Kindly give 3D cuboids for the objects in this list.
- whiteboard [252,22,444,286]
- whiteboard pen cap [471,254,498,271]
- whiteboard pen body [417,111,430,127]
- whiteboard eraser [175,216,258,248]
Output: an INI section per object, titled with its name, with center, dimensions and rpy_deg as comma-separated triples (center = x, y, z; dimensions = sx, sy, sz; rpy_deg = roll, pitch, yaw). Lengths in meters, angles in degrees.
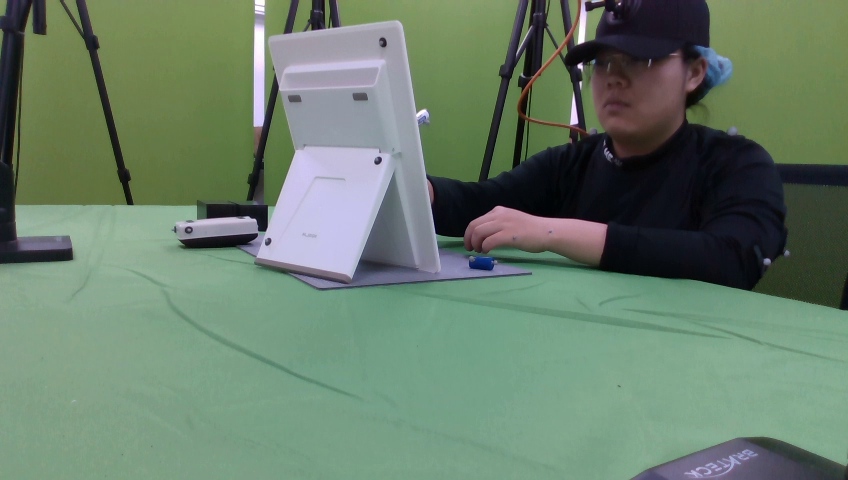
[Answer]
[whiteboard]
center = -0.125, -0.081, 0.714
dimensions = 0.216, 0.305, 0.144
rpy_deg = 9, 29, 36
[whiteboard pen cap]
center = 0.080, 0.031, 0.799
dimensions = 0.033, 0.018, 0.018
rpy_deg = 19, 2, -17
[whiteboard pen body]
center = -0.025, -0.142, 0.789
dimensions = 0.017, 0.017, 0.141
rpy_deg = 6, 30, 24
[whiteboard eraser]
center = -0.314, -0.012, 0.914
dimensions = 0.113, 0.042, 0.055
rpy_deg = -5, 12, -30
